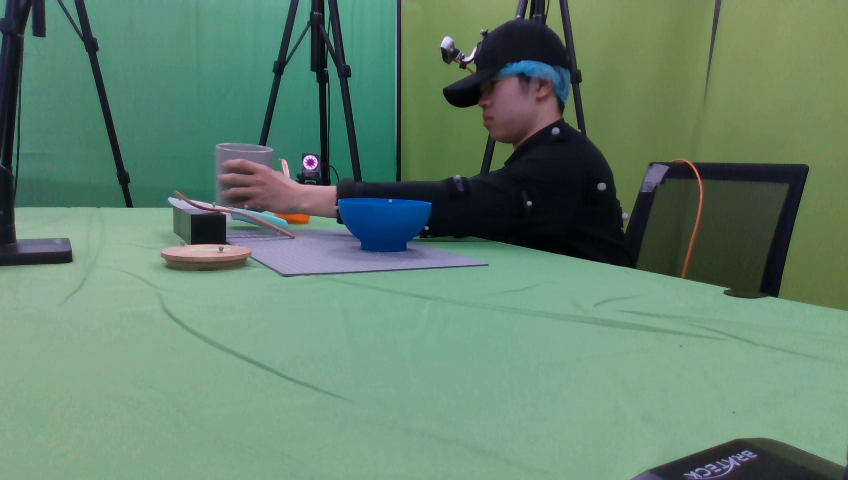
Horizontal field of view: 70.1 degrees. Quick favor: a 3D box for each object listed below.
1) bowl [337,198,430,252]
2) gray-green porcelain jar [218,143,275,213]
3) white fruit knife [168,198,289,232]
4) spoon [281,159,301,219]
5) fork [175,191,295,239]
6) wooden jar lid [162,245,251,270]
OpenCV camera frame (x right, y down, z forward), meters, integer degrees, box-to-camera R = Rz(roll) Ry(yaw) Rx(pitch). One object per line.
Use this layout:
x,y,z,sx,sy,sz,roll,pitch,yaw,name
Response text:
-0.066,-0.024,0.967,0.151,0.077,0.151,3,7,0,bowl
-0.347,-0.119,1.182,0.106,0.126,0.106,6,16,-1,gray-green porcelain jar
-0.329,-0.044,1.036,0.208,0.027,0.016,14,0,-32,white fruit knife
-0.307,-0.118,1.368,0.042,0.193,0.021,1,-37,-22,spoon
-0.306,-0.039,0.993,0.208,0.018,0.028,19,-9,-34,fork
-0.278,0.022,0.777,0.108,0.020,0.108,2,6,0,wooden jar lid
